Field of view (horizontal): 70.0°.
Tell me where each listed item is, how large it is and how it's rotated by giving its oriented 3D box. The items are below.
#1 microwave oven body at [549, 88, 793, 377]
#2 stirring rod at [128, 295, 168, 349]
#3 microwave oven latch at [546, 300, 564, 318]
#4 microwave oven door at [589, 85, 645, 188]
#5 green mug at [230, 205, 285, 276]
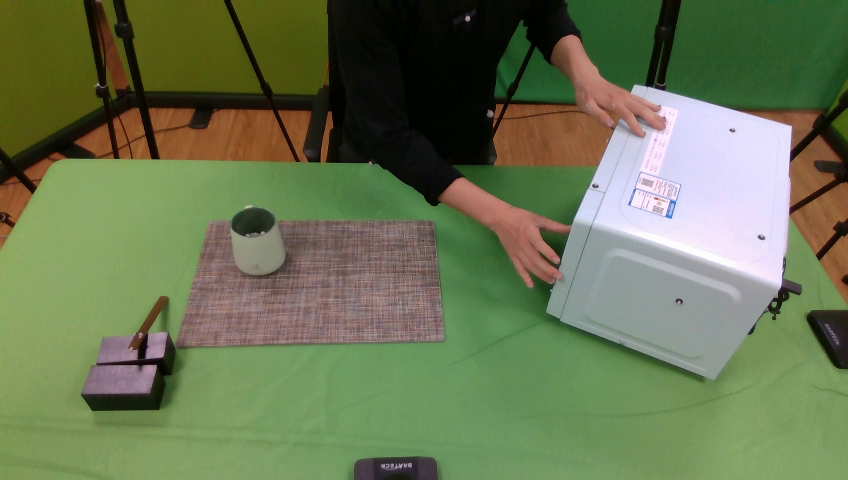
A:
[{"bbox_3d":[0.456,-0.028,1.088,0.325,0.261,0.440,20,47,16],"label":"microwave oven body"},{"bbox_3d":[-0.451,0.131,0.996,0.014,0.006,0.175,9,21,-10],"label":"stirring rod"},{"bbox_3d":[0.242,0.102,1.081,0.030,0.029,0.079,22,48,17],"label":"microwave oven latch"},{"bbox_3d":[0.342,-0.107,1.149,0.039,0.245,0.354,20,48,15],"label":"microwave oven door"},{"bbox_3d":[-0.311,-0.008,1.118,0.092,0.105,0.124,-14,48,-16],"label":"green mug"}]
